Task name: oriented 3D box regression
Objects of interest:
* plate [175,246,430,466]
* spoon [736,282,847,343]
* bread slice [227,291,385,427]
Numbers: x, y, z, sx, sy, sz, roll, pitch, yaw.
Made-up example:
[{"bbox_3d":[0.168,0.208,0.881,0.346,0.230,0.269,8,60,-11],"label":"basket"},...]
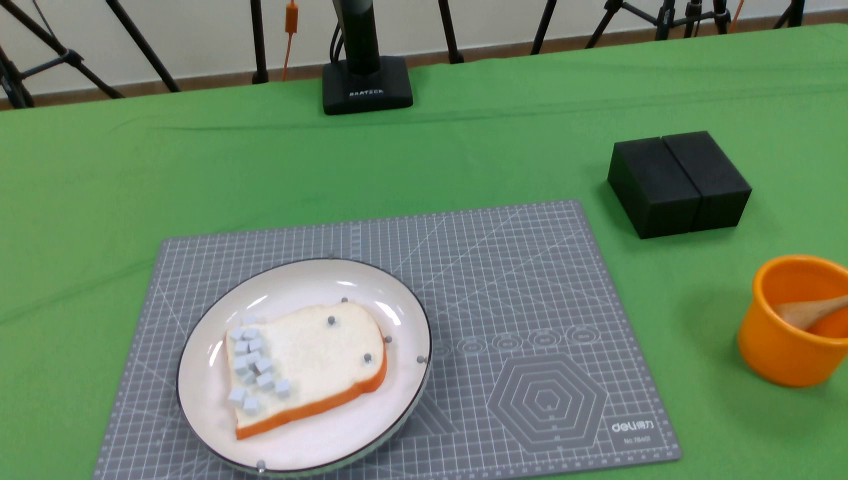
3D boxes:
[{"bbox_3d":[-0.098,0.092,0.509,0.209,0.038,0.207,-1,47,2],"label":"plate"},{"bbox_3d":[0.333,0.031,0.463,0.193,0.022,0.041,-31,35,31],"label":"spoon"},{"bbox_3d":[-0.100,0.090,0.516,0.132,0.019,0.103,-17,49,-11],"label":"bread slice"}]
